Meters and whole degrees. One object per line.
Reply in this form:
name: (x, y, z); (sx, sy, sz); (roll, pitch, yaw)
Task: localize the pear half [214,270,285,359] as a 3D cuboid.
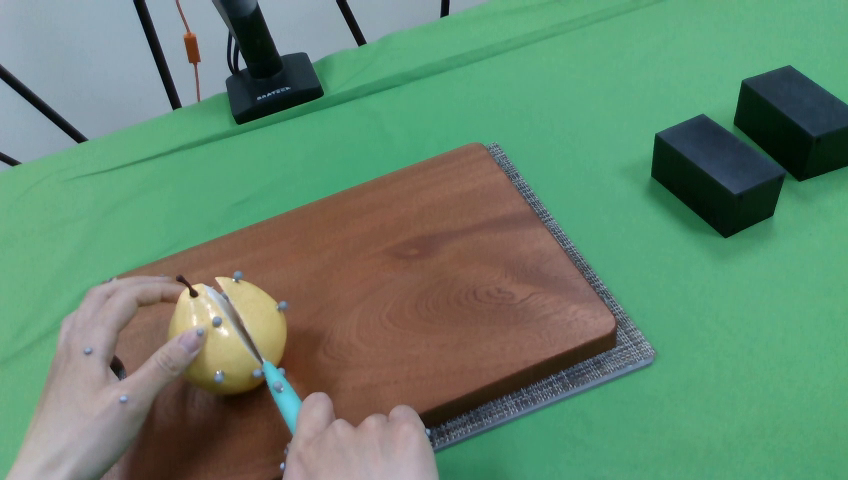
pear half: (-0.125, 0.051, 0.453); (0.031, 0.089, 0.069); (-32, 42, -24)

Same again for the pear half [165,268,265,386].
pear half: (-0.161, 0.063, 0.434); (0.056, 0.111, 0.075); (-36, 43, -17)

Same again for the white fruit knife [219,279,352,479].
white fruit knife: (-0.108, 0.092, 0.431); (0.016, 0.028, 0.205); (-30, 51, -20)
